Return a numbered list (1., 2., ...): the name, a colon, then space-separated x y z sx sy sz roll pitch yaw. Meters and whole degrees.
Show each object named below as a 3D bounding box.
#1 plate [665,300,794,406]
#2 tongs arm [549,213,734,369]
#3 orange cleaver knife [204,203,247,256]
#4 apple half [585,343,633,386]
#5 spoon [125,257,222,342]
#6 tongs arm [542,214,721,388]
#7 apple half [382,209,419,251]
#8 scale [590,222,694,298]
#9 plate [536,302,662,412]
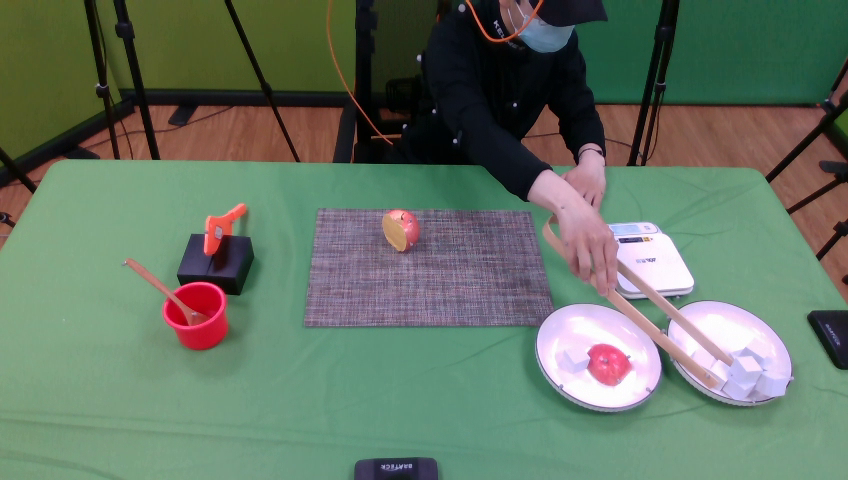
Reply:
1. plate: 0.513 0.194 1.033 0.208 0.039 0.206 2 46 -2
2. tongs arm: 0.370 0.082 1.053 0.386 0.028 0.028 43 58 15
3. orange cleaver knife: -0.374 -0.024 1.146 0.012 0.077 0.211 4 14 1
4. apple half: 0.309 0.198 1.008 0.081 0.033 0.081 4 48 -4
5. spoon: -0.408 0.096 0.990 0.194 0.021 0.041 50 54 -18
6. tongs arm: 0.347 0.097 1.034 0.383 0.026 0.051 42 55 14
7. apple half: -0.039 -0.022 1.175 0.053 0.075 0.080 -27 49 -31
8. scale: 0.424 0.031 1.189 0.149 0.032 0.199 -3 46 -7
9. plate: 0.288 0.197 1.016 0.209 0.038 0.208 2 46 -2
